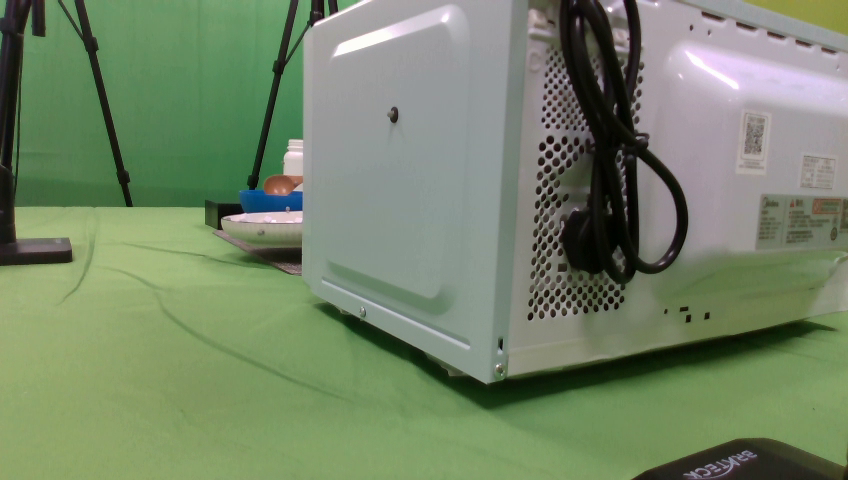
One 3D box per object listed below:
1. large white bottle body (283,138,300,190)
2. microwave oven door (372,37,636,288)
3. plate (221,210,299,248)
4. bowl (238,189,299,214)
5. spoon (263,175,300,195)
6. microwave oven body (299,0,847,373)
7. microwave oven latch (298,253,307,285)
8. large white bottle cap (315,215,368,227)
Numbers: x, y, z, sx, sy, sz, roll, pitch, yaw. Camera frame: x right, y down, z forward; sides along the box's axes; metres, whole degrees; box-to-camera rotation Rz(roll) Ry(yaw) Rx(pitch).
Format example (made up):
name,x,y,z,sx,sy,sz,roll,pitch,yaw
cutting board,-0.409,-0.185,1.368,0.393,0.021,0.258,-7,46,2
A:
name,x,y,z,sx,sy,sz,roll,pitch,yaw
large white bottle body,-0.265,-0.144,1.424,0.131,0.184,0.130,2,7,0
microwave oven door,0.110,-0.080,0.686,0.358,0.243,0.039,-2,9,-33
plate,-0.176,-0.017,0.853,0.209,0.038,0.209,-1,7,0
bowl,-0.245,-0.046,1.053,0.151,0.077,0.151,3,8,0
spoon,-0.194,-0.114,1.072,0.194,0.041,0.021,-20,-9,-29
microwave oven body,0.151,-0.055,0.542,0.444,0.260,0.324,-2,7,-33
microwave oven latch,-0.081,0.027,0.583,0.079,0.029,0.030,-2,7,-33
large white bottle cap,-0.177,-0.041,1.309,0.115,0.018,0.115,2,6,0
